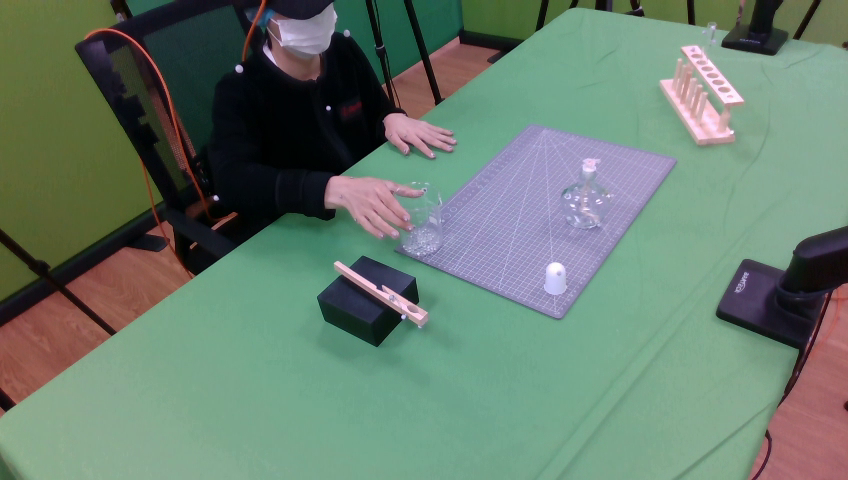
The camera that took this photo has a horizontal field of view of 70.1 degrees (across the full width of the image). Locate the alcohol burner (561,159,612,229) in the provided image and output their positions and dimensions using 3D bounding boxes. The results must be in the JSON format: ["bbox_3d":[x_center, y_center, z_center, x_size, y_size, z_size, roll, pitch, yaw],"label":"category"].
[{"bbox_3d":[0.257,-0.077,0.951,0.078,0.119,0.077,-3,40,3],"label":"alcohol burner"}]

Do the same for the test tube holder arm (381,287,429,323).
[{"bbox_3d":[-0.028,0.087,0.807,0.087,0.015,0.010,25,42,33],"label":"test tube holder arm"}]

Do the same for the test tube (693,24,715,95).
[{"bbox_3d":[0.543,-0.348,1.177,0.017,0.151,0.017,-5,45,5],"label":"test tube"}]

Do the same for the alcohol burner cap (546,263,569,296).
[{"bbox_3d":[0.191,0.053,0.862,0.034,0.048,0.033,-5,40,4],"label":"alcohol burner cap"}]

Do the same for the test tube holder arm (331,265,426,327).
[{"bbox_3d":[-0.066,0.074,0.828,0.177,0.015,0.013,25,42,33],"label":"test tube holder arm"}]

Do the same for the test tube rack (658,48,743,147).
[{"bbox_3d":[0.532,-0.284,1.181,0.067,0.085,0.241,-5,40,4],"label":"test tube rack"}]

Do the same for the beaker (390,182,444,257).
[{"bbox_3d":[-0.005,-0.029,0.947,0.083,0.101,0.074,15,45,24],"label":"beaker"}]
